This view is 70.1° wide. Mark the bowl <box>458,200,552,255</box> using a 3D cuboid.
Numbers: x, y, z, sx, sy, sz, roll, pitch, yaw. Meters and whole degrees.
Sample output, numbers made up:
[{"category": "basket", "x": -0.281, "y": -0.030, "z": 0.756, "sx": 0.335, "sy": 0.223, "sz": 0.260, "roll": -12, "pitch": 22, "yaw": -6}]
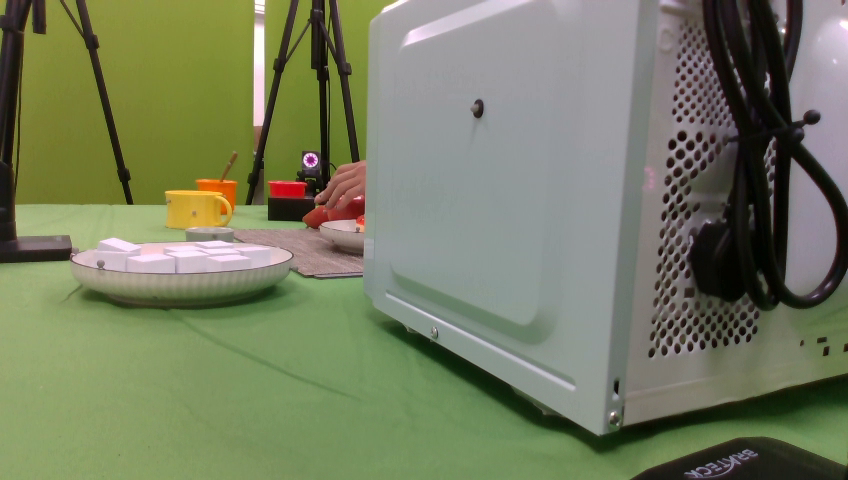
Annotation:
[{"category": "bowl", "x": 0.128, "y": -0.020, "z": 0.978, "sx": 0.151, "sy": 0.077, "sz": 0.151, "roll": 2, "pitch": 8, "yaw": 0}]

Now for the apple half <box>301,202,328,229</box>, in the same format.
[{"category": "apple half", "x": -0.194, "y": -0.043, "z": 1.173, "sx": 0.081, "sy": 0.032, "sz": 0.081, "roll": -21, "pitch": -16, "yaw": -6}]

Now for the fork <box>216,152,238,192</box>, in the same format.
[{"category": "fork", "x": -0.455, "y": -0.132, "z": 1.367, "sx": 0.028, "sy": 0.018, "sz": 0.207, "roll": -2, "pitch": -35, "yaw": -37}]

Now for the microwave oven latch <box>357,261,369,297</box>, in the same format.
[{"category": "microwave oven latch", "x": -0.019, "y": 0.033, "z": 0.530, "sx": 0.079, "sy": 0.029, "sz": 0.030, "roll": -1, "pitch": 7, "yaw": -26}]

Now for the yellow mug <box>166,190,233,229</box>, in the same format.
[{"category": "yellow mug", "x": -0.415, "y": -0.057, "z": 1.132, "sx": 0.130, "sy": 0.064, "sz": 0.100, "roll": 6, "pitch": 8, "yaw": 16}]

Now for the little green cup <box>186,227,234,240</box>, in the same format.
[{"category": "little green cup", "x": -0.284, "y": 0.005, "z": 0.805, "sx": 0.061, "sy": 0.038, "sz": 0.061, "roll": 2, "pitch": 8, "yaw": 0}]

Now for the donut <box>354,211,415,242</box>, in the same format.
[{"category": "donut", "x": -0.063, "y": -0.020, "z": 0.955, "sx": 0.099, "sy": 0.048, "sz": 0.099, "roll": 5, "pitch": 7, "yaw": 0}]

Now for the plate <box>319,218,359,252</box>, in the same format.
[{"category": "plate", "x": -0.059, "y": -0.007, "z": 0.939, "sx": 0.209, "sy": 0.038, "sz": 0.209, "roll": 3, "pitch": 8, "yaw": 0}]

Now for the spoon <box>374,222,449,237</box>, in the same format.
[{"category": "spoon", "x": -0.028, "y": -0.025, "z": 1.178, "sx": 0.193, "sy": 0.021, "sz": 0.042, "roll": 10, "pitch": 27, "yaw": 41}]

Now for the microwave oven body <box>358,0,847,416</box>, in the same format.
[{"category": "microwave oven body", "x": 0.211, "y": -0.047, "z": 0.474, "sx": 0.444, "sy": 0.260, "sz": 0.324, "roll": -1, "pitch": 7, "yaw": -28}]

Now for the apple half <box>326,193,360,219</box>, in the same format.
[{"category": "apple half", "x": -0.135, "y": -0.047, "z": 1.090, "sx": 0.081, "sy": 0.074, "sz": 0.053, "roll": 4, "pitch": 11, "yaw": -13}]

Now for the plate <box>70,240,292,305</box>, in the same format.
[{"category": "plate", "x": -0.242, "y": 0.031, "z": 0.618, "sx": 0.208, "sy": 0.039, "sz": 0.207, "roll": 2, "pitch": 8, "yaw": 0}]

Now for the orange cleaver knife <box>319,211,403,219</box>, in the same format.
[{"category": "orange cleaver knife", "x": -0.142, "y": -0.056, "z": 1.394, "sx": 0.077, "sy": 0.012, "sz": 0.212, "roll": 4, "pitch": 7, "yaw": 44}]

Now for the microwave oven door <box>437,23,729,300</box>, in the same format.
[{"category": "microwave oven door", "x": 0.181, "y": -0.072, "z": 0.621, "sx": 0.358, "sy": 0.243, "sz": 0.039, "roll": -2, "pitch": 9, "yaw": -29}]
